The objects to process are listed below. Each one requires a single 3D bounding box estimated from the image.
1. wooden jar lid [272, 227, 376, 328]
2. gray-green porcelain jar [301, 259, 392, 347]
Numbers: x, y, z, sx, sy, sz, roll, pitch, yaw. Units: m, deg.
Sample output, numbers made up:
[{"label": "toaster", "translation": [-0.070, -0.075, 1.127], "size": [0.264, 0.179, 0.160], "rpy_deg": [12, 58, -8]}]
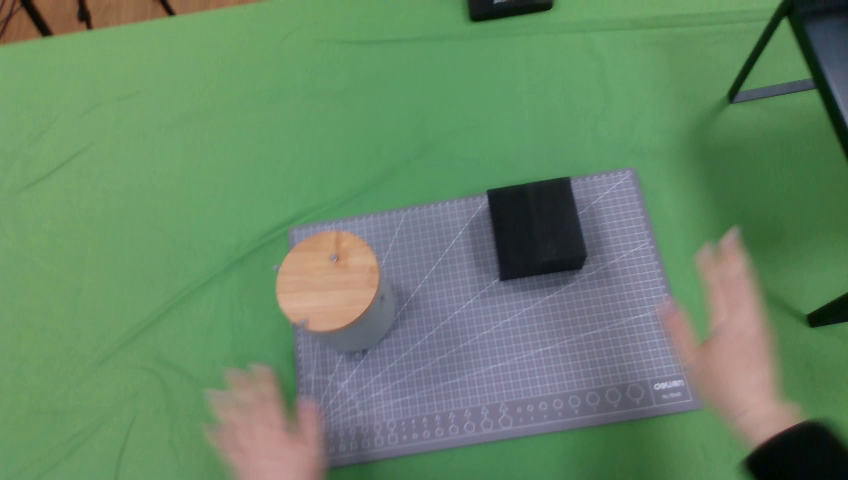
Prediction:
[{"label": "wooden jar lid", "translation": [-0.101, 0.039, 0.624], "size": [0.108, 0.021, 0.107], "rpy_deg": [-3, 68, 8]}, {"label": "gray-green porcelain jar", "translation": [-0.094, 0.062, 0.682], "size": [0.106, 0.127, 0.105], "rpy_deg": [-2, 69, 6]}]
